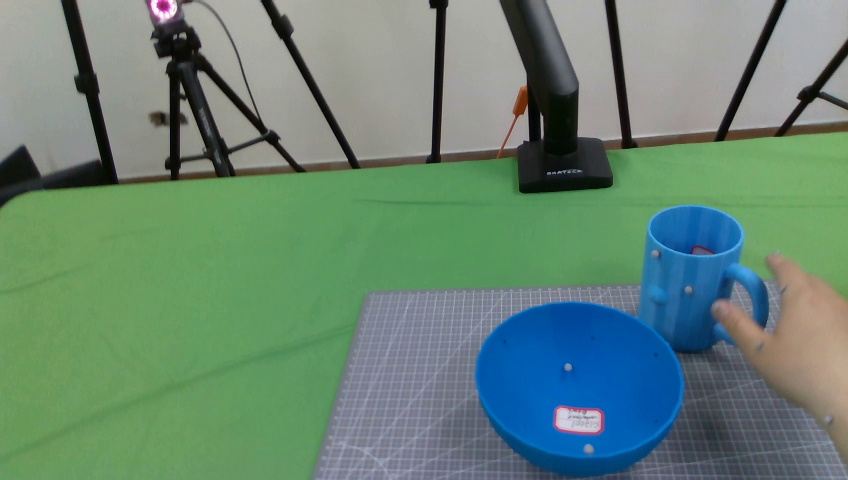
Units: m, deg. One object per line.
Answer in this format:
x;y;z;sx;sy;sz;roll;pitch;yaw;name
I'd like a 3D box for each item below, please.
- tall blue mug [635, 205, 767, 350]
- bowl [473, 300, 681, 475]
0.246;0.038;0.536;0.106;0.109;0.077;14;41;28;tall blue mug
0.116;0.125;0.471;0.151;0.077;0.150;-5;36;4;bowl
